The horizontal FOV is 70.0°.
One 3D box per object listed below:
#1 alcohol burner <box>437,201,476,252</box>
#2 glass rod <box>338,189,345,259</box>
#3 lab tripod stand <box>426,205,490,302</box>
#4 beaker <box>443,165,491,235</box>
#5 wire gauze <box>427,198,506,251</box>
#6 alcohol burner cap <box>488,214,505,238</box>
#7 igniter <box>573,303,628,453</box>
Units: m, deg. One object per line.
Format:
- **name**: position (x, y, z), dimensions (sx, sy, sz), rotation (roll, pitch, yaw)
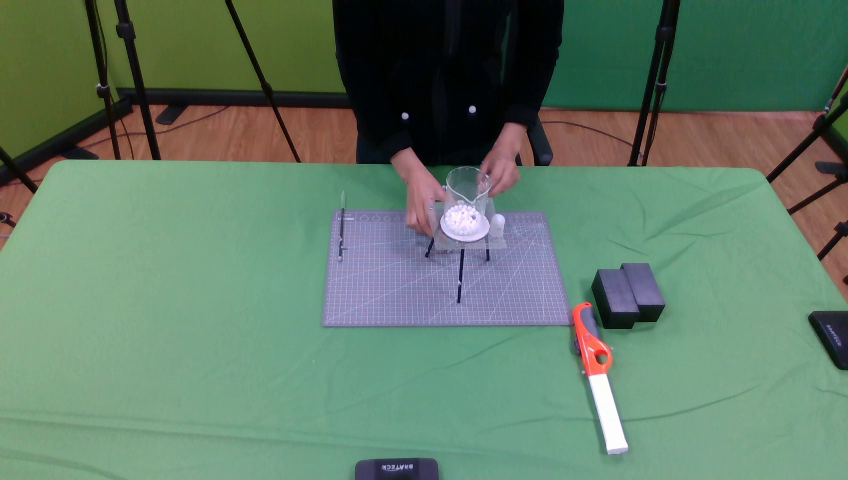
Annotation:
- **alcohol burner**: position (0.065, -0.033, 1.166), dimensions (0.078, 0.119, 0.077), rotation (4, 49, -5)
- **glass rod**: position (-0.166, -0.036, 1.227), dimensions (0.008, 0.008, 0.198), rotation (-1, 46, -4)
- **lab tripod stand**: position (0.069, 0.017, 1.106), dimensions (0.148, 0.132, 0.147), rotation (3, 47, -3)
- **beaker**: position (0.070, -0.062, 1.023), dimensions (0.074, 0.101, 0.083), rotation (-2, 48, -6)
- **wire gauze**: position (0.072, -0.027, 1.056), dimensions (0.125, 0.011, 0.120), rotation (-1, 49, -8)
- **alcohol burner cap**: position (0.148, -0.032, 1.222), dimensions (0.034, 0.048, 0.033), rotation (2, 45, -2)
- **igniter**: position (0.288, 0.216, 1.006), dimensions (0.057, 0.025, 0.274), rotation (-10, 46, 8)
